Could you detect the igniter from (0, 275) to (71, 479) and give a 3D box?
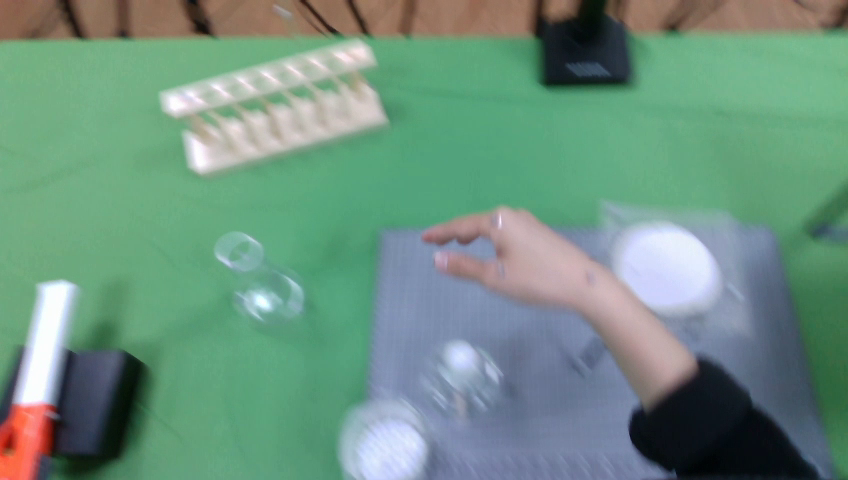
[{"bbox_3d":[-0.368,0.161,0.565,0.057,0.025,0.274,-9,62,3],"label":"igniter"}]

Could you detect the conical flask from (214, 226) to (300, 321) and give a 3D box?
[{"bbox_3d":[-0.177,0.030,0.622,0.075,0.123,0.074,-1,63,2],"label":"conical flask"}]

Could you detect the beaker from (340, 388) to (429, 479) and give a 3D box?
[{"bbox_3d":[-0.033,0.187,0.548,0.073,0.101,0.083,28,68,16],"label":"beaker"}]

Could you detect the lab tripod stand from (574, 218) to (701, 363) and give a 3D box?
[{"bbox_3d":[0.204,0.048,0.590,0.148,0.132,0.147,0,62,1],"label":"lab tripod stand"}]

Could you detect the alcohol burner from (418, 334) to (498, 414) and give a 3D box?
[{"bbox_3d":[0.033,0.121,0.571,0.078,0.120,0.077,0,62,0],"label":"alcohol burner"}]

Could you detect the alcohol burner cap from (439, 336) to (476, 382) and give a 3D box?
[{"bbox_3d":[0.031,0.103,0.539,0.034,0.048,0.033,1,57,-1],"label":"alcohol burner cap"}]

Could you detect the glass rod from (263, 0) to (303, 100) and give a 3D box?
[{"bbox_3d":[-0.168,-0.238,0.702,0.008,0.201,0.008,-4,56,6],"label":"glass rod"}]

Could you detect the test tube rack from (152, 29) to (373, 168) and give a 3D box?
[{"bbox_3d":[-0.191,-0.173,0.745,0.242,0.086,0.066,-19,64,-7],"label":"test tube rack"}]

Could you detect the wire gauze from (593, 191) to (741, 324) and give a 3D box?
[{"bbox_3d":[0.209,0.013,0.531,0.121,0.011,0.124,5,64,3],"label":"wire gauze"}]
